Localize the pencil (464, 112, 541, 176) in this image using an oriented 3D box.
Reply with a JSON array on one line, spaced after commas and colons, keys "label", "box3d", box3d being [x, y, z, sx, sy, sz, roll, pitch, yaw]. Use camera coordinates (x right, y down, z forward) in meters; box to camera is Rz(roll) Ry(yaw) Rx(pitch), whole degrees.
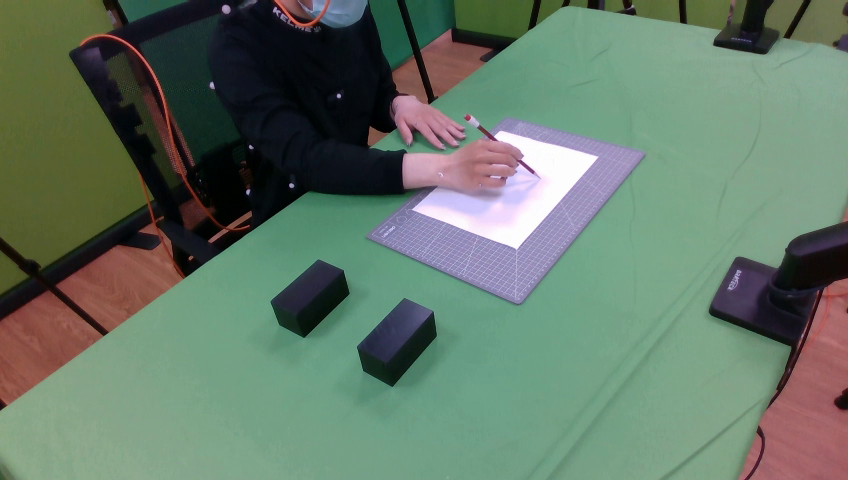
[{"label": "pencil", "box3d": [0.138, -0.160, 1.031, 0.012, 0.195, 0.012, -35, 37, 32]}]
